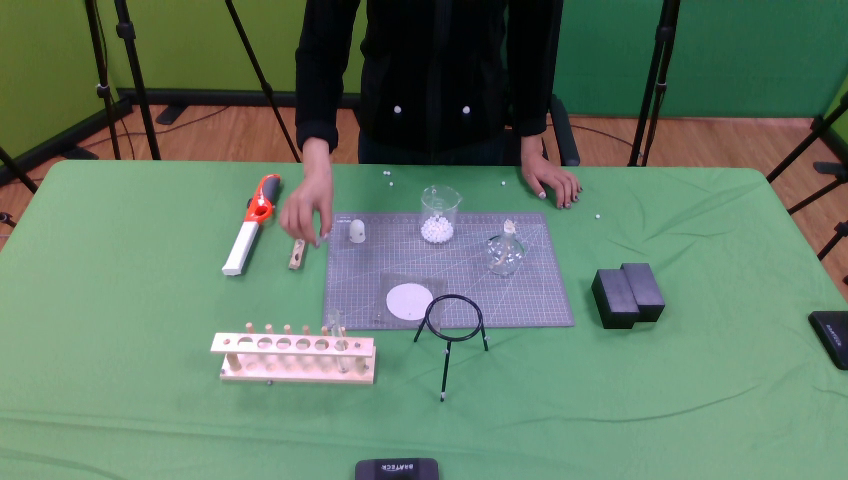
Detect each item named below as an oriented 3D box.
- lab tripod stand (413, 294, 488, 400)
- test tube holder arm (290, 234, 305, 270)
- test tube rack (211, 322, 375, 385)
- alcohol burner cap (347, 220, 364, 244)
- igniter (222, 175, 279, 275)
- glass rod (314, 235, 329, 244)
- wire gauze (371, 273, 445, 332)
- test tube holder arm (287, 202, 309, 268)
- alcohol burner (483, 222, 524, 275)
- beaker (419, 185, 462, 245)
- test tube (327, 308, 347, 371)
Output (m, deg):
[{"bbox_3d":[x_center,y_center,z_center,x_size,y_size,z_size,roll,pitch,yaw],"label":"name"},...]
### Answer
[{"bbox_3d":[0.044,0.159,0.972,0.148,0.132,0.147,2,44,-2],"label":"lab tripod stand"},{"bbox_3d":[-0.243,0.021,1.164,0.010,0.015,0.087,29,39,-25],"label":"test tube holder arm"},{"bbox_3d":[-0.203,0.176,0.969,0.242,0.085,0.066,3,46,-2],"label":"test tube rack"},{"bbox_3d":[-0.135,-0.019,1.190,0.034,0.048,0.033,2,46,-2],"label":"alcohol burner cap"},{"bbox_3d":[-0.341,-0.039,1.206,0.057,0.025,0.275,-1,45,9],"label":"igniter"},{"bbox_3d":[-0.179,0.001,1.065,0.008,0.199,0.008,0,87,-4],"label":"glass rod"},{"bbox_3d":[-0.028,0.109,1.100,0.125,0.011,0.121,7,45,4],"label":"wire gauze"},{"bbox_3d":[-0.246,-0.013,1.193,0.013,0.015,0.177,29,39,-26],"label":"test tube holder arm"},{"bbox_3d":[0.152,0.010,1.136,0.078,0.119,0.077,4,46,-4],"label":"alcohol burner"},{"bbox_3d":[0.029,-0.047,1.191,0.084,0.101,0.073,-5,47,-10],"label":"beaker"},{"bbox_3d":[-0.132,0.155,0.926,0.017,0.151,0.017,0,45,0],"label":"test tube"}]
